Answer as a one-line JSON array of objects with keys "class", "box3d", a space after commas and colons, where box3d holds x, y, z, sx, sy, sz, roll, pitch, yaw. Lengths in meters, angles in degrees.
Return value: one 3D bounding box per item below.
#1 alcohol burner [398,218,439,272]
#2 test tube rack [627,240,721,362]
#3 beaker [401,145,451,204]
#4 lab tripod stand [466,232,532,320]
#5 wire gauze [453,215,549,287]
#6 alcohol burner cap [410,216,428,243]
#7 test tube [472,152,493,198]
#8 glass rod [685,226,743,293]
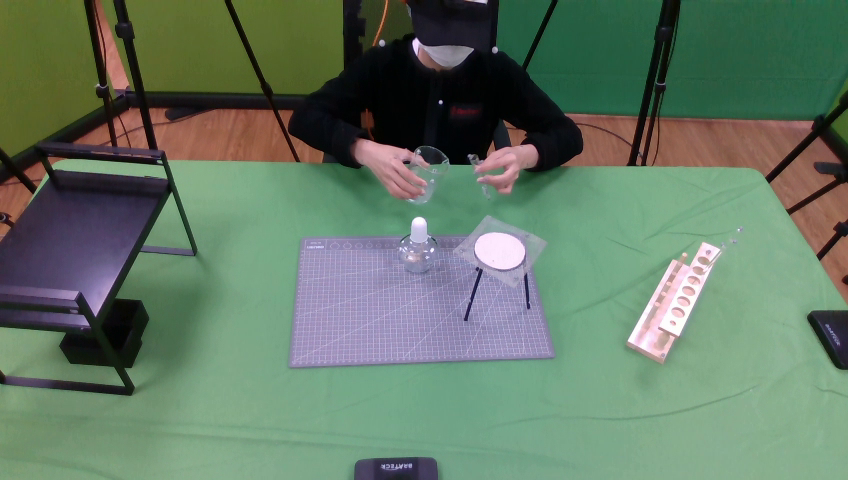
[{"class": "alcohol burner", "box3d": [-0.010, 0.004, 1.123, 0.078, 0.120, 0.077, 1, 47, 0]}, {"class": "test tube rack", "box3d": [0.452, 0.098, 1.087, 0.066, 0.085, 0.242, 28, 51, 22]}, {"class": "beaker", "box3d": [0.002, -0.126, 1.191, 0.084, 0.100, 0.073, -17, 62, -34]}, {"class": "lab tripod stand", "box3d": [0.125, 0.059, 1.065, 0.148, 0.132, 0.147, 1, 45, 0]}, {"class": "wire gauze", "box3d": [0.129, 0.012, 1.017, 0.124, 0.011, 0.121, 28, 50, 23]}, {"class": "alcohol burner cap", "box3d": [-0.009, -0.022, 1.099, 0.034, 0.048, 0.033, 2, 41, -1]}, {"class": "test tube", "box3d": [0.118, -0.125, 1.199, 0.017, 0.151, 0.017, -7, 61, 14]}, {"class": "glass rod", "box3d": [0.500, 0.040, 1.054, 0.008, 0.200, 0.008, 4, 53, -5]}]
